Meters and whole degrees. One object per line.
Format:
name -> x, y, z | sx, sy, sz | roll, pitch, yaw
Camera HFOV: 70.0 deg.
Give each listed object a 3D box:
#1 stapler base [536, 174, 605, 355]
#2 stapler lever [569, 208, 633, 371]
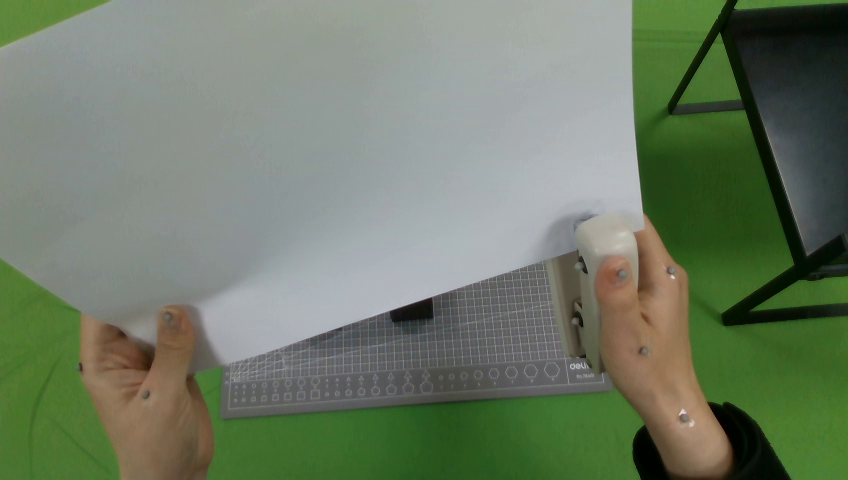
stapler base -> 0.099, 0.023, 0.372 | 0.041, 0.132, 0.024 | -19, 33, -2
stapler lever -> 0.105, 0.034, 0.354 | 0.027, 0.119, 0.040 | -19, 30, -2
